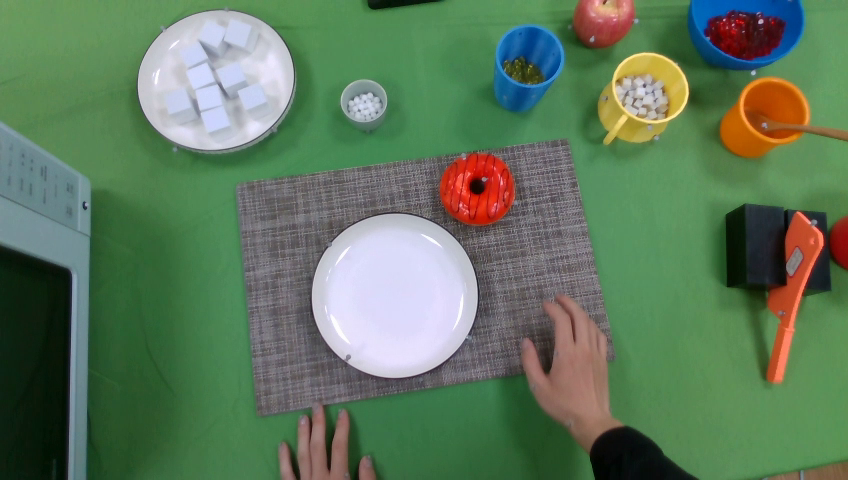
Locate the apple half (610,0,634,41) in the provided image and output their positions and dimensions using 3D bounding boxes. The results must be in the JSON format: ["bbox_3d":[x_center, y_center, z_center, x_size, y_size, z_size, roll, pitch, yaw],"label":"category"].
[{"bbox_3d":[0.268,-0.313,0.829,0.033,0.081,0.081,-3,77,2],"label":"apple half"}]

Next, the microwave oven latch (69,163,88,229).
[{"bbox_3d":[-0.439,-0.054,0.757,0.030,0.029,0.079,-4,78,-3],"label":"microwave oven latch"}]

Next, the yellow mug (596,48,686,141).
[{"bbox_3d":[0.277,-0.183,0.806,0.099,0.064,0.130,39,81,7],"label":"yellow mug"}]

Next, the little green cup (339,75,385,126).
[{"bbox_3d":[-0.081,-0.185,0.813,0.061,0.039,0.061,0,77,-1],"label":"little green cup"}]

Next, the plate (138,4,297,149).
[{"bbox_3d":[-0.273,-0.216,0.815,0.208,0.039,0.206,0,78,-1],"label":"plate"}]

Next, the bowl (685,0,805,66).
[{"bbox_3d":[0.421,-0.297,0.828,0.151,0.077,0.150,0,78,-1],"label":"bowl"}]

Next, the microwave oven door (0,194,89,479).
[{"bbox_3d":[-0.419,0.136,0.612,0.039,0.245,0.354,-6,78,-2],"label":"microwave oven door"}]

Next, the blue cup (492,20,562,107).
[{"bbox_3d":[0.127,-0.222,0.793,0.093,0.100,0.092,0,79,-2],"label":"blue cup"}]

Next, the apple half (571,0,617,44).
[{"bbox_3d":[0.228,-0.310,0.829,0.053,0.075,0.080,-3,81,1],"label":"apple half"}]

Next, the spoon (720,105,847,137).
[{"bbox_3d":[0.467,-0.144,0.759,0.041,0.192,0.022,-50,127,-10],"label":"spoon"}]

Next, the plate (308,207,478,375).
[{"bbox_3d":[-0.038,0.063,0.756,0.209,0.038,0.208,0,78,-1],"label":"plate"}]

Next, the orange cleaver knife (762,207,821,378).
[{"bbox_3d":[0.443,0.066,0.747,0.012,0.077,0.212,6,107,3],"label":"orange cleaver knife"}]

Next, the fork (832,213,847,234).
[{"bbox_3d":[0.605,0.010,0.730,0.028,0.019,0.205,-37,38,-19],"label":"fork"}]

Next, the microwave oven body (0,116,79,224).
[{"bbox_3d":[-0.568,0.110,0.620,0.326,0.261,0.439,-5,78,-3],"label":"microwave oven body"}]

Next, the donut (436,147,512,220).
[{"bbox_3d":[0.065,-0.073,0.785,0.099,0.048,0.098,0,80,-1],"label":"donut"}]
